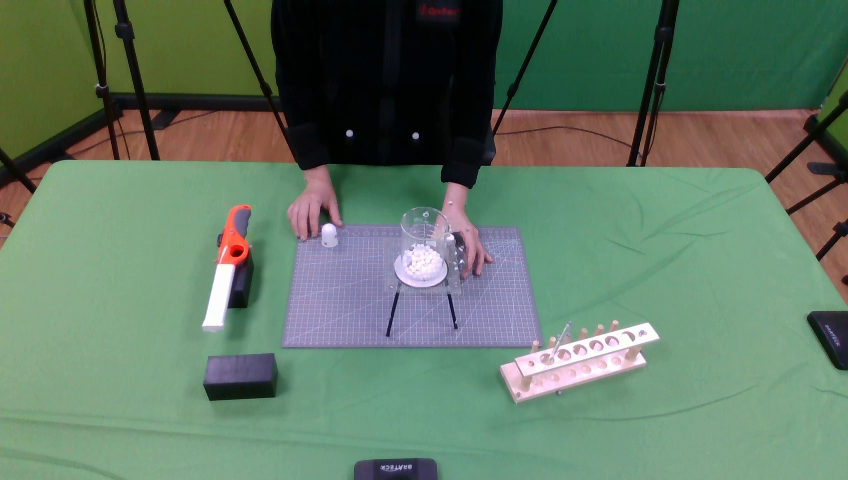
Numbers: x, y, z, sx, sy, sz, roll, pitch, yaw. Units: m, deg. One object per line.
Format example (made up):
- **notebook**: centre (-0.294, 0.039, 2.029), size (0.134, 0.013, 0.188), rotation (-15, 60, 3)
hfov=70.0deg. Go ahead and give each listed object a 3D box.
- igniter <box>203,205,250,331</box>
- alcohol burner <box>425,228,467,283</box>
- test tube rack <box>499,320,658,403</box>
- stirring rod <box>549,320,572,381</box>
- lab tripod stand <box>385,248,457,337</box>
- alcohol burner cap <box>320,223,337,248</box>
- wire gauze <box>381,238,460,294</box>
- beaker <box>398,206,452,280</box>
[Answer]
- **igniter**: centre (-0.345, 0.039, 1.065), size (0.057, 0.025, 0.274), rotation (2, 49, -6)
- **alcohol burner**: centre (0.041, 0.024, 1.111), size (0.078, 0.120, 0.077), rotation (1, 47, -1)
- **test tube rack**: centre (0.252, 0.187, 0.994), size (0.243, 0.085, 0.066), rotation (-12, 48, -15)
- **stirring rod**: centre (0.202, 0.167, 0.901), size (0.006, 0.177, 0.014), rotation (-18, 55, -11)
- **lab tripod stand**: centre (-0.010, 0.087, 1.032), size (0.148, 0.132, 0.147), rotation (1, 45, -1)
- **alcohol burner cap**: centre (-0.188, -0.010, 1.176), size (0.034, 0.048, 0.033), rotation (2, 46, -2)
- **wire gauze**: centre (-0.008, 0.042, 0.985), size (0.125, 0.011, 0.120), rotation (-1, 43, -2)
- **beaker**: centre (0.000, 0.008, 0.950), size (0.084, 0.101, 0.073), rotation (10, 45, 6)
